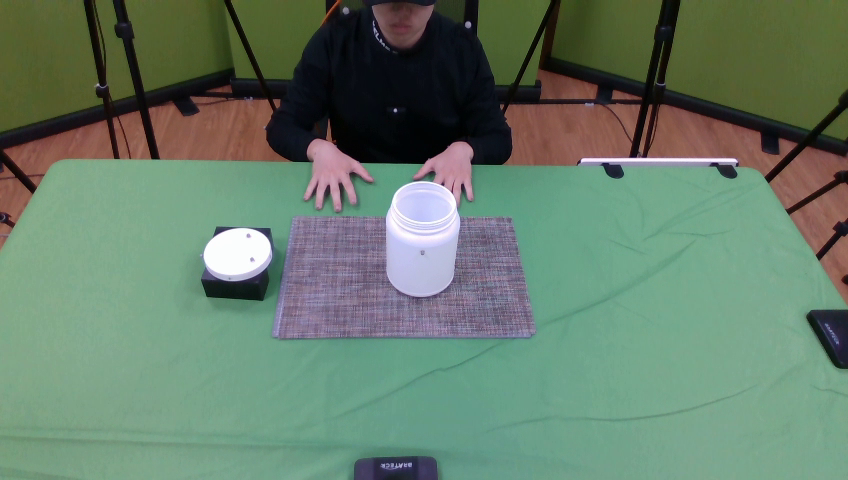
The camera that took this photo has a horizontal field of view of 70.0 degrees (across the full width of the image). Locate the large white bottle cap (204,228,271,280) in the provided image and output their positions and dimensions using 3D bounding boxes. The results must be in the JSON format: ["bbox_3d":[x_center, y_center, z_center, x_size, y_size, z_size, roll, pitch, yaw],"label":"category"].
[{"bbox_3d":[-0.333,0.024,1.084,0.115,0.018,0.114,2,46,-2],"label":"large white bottle cap"}]

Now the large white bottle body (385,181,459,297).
[{"bbox_3d":[-0.004,-0.003,1.082,0.131,0.185,0.130,2,46,-2],"label":"large white bottle body"}]
